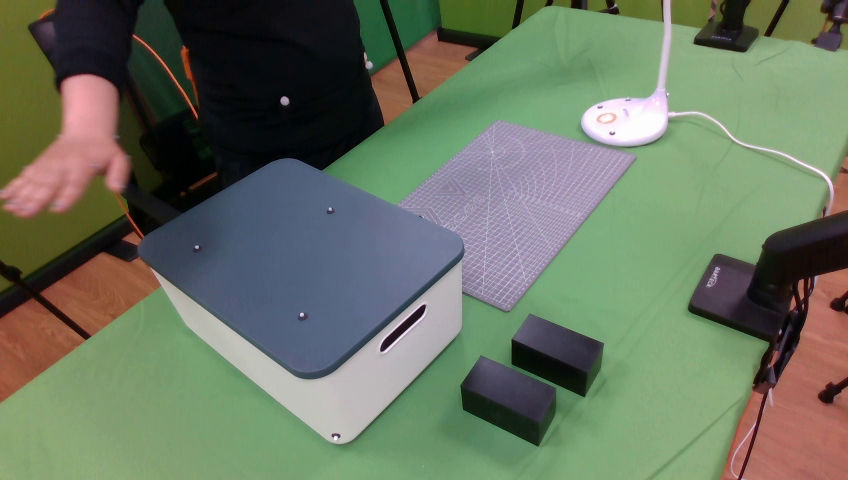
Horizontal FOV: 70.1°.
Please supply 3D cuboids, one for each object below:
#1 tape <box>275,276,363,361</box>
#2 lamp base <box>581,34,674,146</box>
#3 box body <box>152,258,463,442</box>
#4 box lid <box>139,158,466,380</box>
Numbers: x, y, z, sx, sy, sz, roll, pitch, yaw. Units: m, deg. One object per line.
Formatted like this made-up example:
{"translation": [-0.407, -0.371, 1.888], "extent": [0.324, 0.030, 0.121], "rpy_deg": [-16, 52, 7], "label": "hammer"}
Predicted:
{"translation": [-0.143, 0.107, 0.831], "extent": [0.117, 0.053, 0.116], "rpy_deg": [-4, 41, 4], "label": "tape"}
{"translation": [0.392, -0.291, 1.129], "extent": [0.180, 0.181, 0.159], "rpy_deg": [-11, 41, -8], "label": "lamp base"}
{"translation": [-0.152, 0.064, 0.807], "extent": [0.361, 0.161, 0.255], "rpy_deg": [26, 51, 33], "label": "box body"}
{"translation": [-0.158, 0.010, 0.757], "extent": [0.368, 0.015, 0.264], "rpy_deg": [26, 50, 33], "label": "box lid"}
